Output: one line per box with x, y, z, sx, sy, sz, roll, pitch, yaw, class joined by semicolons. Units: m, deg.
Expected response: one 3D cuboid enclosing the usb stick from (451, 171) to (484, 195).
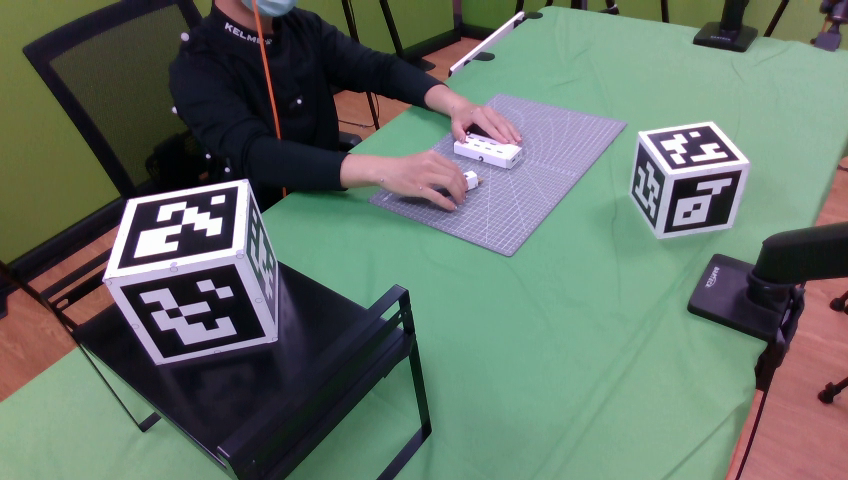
0.079;-0.104;1.072;0.059;0.027;0.021;-23;42;-16;usb stick

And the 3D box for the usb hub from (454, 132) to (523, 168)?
0.122;-0.170;1.144;0.124;0.025;0.049;21;48;29;usb hub
